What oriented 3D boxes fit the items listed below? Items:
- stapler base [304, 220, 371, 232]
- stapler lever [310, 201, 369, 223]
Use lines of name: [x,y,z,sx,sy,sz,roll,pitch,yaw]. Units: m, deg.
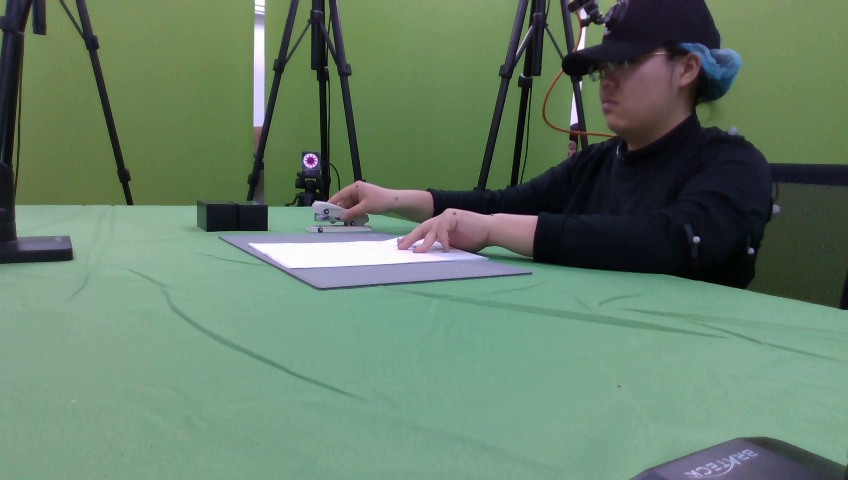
stapler base: [-0.168,-0.029,1.186,0.131,0.024,0.041,0,9,-33]
stapler lever: [-0.166,-0.054,1.185,0.119,0.040,0.026,0,9,-33]
